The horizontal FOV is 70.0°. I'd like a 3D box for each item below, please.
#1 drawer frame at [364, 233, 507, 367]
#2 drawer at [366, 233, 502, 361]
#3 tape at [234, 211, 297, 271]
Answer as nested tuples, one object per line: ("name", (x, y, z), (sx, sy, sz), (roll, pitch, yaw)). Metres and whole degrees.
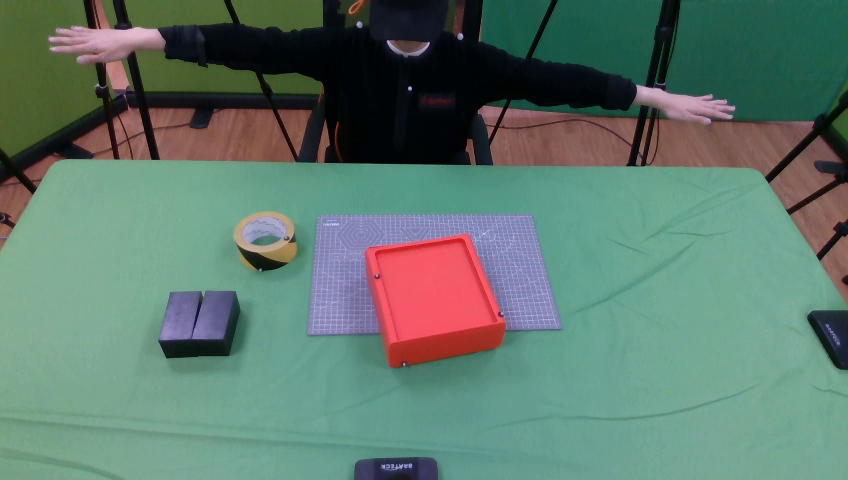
("drawer frame", (0.013, 0.098, 1.058), (0.202, 0.083, 0.212), (-9, 48, -12))
("drawer", (0.012, 0.095, 1.063), (0.195, 0.073, 0.210), (-7, 48, -12))
("tape", (-0.301, 0.002, 1.154), (0.117, 0.053, 0.116), (2, 46, -1))
